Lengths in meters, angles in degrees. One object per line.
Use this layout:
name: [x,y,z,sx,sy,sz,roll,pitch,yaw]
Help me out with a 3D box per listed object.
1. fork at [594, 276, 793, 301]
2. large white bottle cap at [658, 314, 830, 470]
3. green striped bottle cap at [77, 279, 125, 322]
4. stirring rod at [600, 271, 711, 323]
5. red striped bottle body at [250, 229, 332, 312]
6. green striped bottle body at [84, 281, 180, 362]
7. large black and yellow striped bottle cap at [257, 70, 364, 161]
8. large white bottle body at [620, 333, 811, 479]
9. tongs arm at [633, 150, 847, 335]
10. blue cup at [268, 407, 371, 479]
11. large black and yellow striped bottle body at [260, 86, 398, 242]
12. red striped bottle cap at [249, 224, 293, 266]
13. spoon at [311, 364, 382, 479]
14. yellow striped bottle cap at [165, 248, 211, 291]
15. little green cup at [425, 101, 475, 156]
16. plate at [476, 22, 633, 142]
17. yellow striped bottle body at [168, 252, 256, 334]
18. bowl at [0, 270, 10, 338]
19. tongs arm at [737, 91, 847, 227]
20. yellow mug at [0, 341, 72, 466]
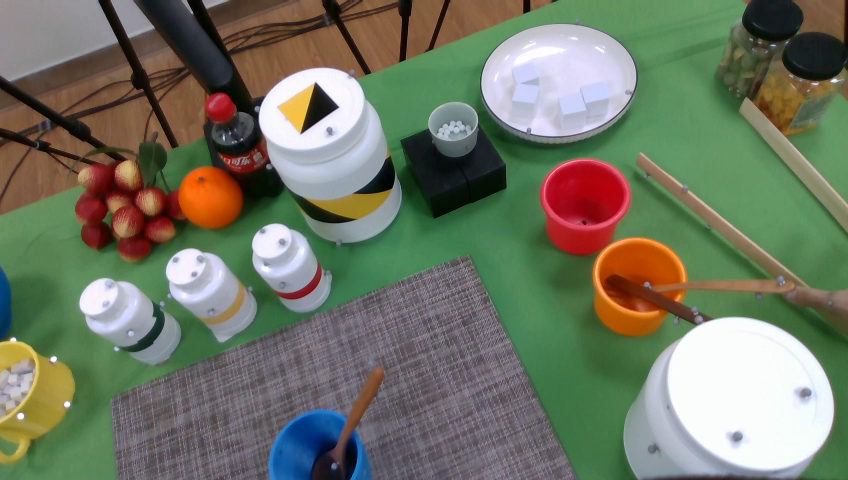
fork: [0.255,0.046,0.601,0.206,0.019,0.028,-12,39,56]
large white bottle cap: [0.234,0.109,0.448,0.115,0.018,0.114,-4,59,7]
green striped bottle cap: [-0.341,0.064,0.640,0.044,0.020,0.044,-4,58,7]
stirring rod: [0.228,0.056,0.605,0.014,0.006,0.175,-27,17,-9]
red striped bottle body: [-0.154,0.031,0.691,0.063,0.121,0.062,-6,59,11]
green striped bottle body: [-0.333,0.090,0.685,0.063,0.120,0.062,-4,59,7]
large black and yellow striped bottle cap: [-0.121,-0.135,0.645,0.115,0.019,0.114,-4,59,8]
large white bottle body: [0.247,0.152,0.520,0.130,0.186,0.129,-4,59,7]
tongs arm: [0.387,0.013,0.665,0.051,0.027,0.381,-33,62,-12]
blue cup: [-0.091,0.217,0.581,0.092,0.101,0.092,-4,58,7]
large black and yellow striped bottle body: [-0.110,-0.094,0.718,0.130,0.186,0.129,-4,60,7]
red striped bottle cap: [-0.163,0.005,0.646,0.044,0.018,0.044,-2,57,4]
spoon: [-0.071,0.178,0.553,0.022,0.195,0.041,-21,56,-42]
yellow striped bottle cap: [-0.252,0.031,0.645,0.044,0.019,0.044,-3,61,6]
little green cup: [0.033,-0.135,0.745,0.061,0.039,0.061,-3,58,6]
plate: [0.174,-0.212,0.827,0.209,0.038,0.207,-4,60,7]
yellow striped bottle body: [-0.244,0.057,0.689,0.063,0.121,0.062,-4,60,8]
bowl: [-0.574,0.091,0.746,0.151,0.077,0.150,-3,60,6]
tongs arm: [0.463,-0.028,0.677,0.028,0.028,0.383,-18,60,-8]
yellow mug: [-0.465,0.186,0.681,0.100,0.064,0.129,-13,60,0]
